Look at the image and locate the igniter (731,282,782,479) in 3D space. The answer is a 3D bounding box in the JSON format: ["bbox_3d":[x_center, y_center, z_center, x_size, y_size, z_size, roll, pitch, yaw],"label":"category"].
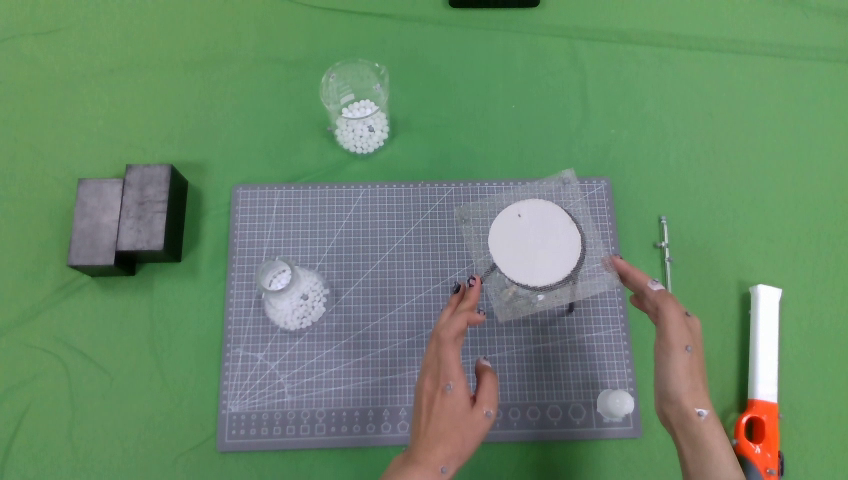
[{"bbox_3d":[0.358,0.180,0.649,0.057,0.025,0.275,14,74,-8],"label":"igniter"}]

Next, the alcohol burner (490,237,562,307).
[{"bbox_3d":[0.111,0.030,0.638,0.078,0.119,0.077,1,74,-3],"label":"alcohol burner"}]

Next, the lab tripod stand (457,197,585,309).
[{"bbox_3d":[0.103,0.022,0.630,0.148,0.132,0.147,0,76,-1],"label":"lab tripod stand"}]

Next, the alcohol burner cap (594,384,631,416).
[{"bbox_3d":[0.201,0.169,0.638,0.034,0.048,0.033,1,75,-2],"label":"alcohol burner cap"}]

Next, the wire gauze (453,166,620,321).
[{"bbox_3d":[0.104,0.002,0.565,0.125,0.011,0.121,-18,77,-5],"label":"wire gauze"}]

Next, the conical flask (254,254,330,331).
[{"bbox_3d":[-0.141,0.048,0.622,0.075,0.122,0.075,0,74,-1],"label":"conical flask"}]

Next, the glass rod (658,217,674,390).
[{"bbox_3d":[0.274,0.068,0.688,0.008,0.008,0.198,3,74,-1],"label":"glass rod"}]

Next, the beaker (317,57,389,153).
[{"bbox_3d":[-0.075,-0.152,0.695,0.084,0.101,0.073,-41,79,-12],"label":"beaker"}]
